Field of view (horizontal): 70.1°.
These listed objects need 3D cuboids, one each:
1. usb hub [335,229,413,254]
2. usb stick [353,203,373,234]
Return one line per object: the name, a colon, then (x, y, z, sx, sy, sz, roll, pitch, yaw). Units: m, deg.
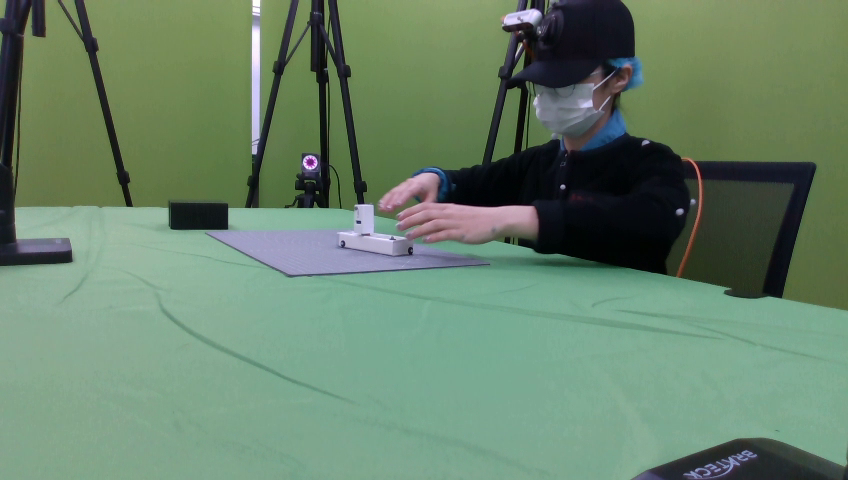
usb hub: (-0.080, 0.001, 0.947, 0.124, 0.025, 0.050, 8, 10, 39)
usb stick: (-0.094, -0.028, 0.936, 0.021, 0.059, 0.027, 5, 11, 39)
